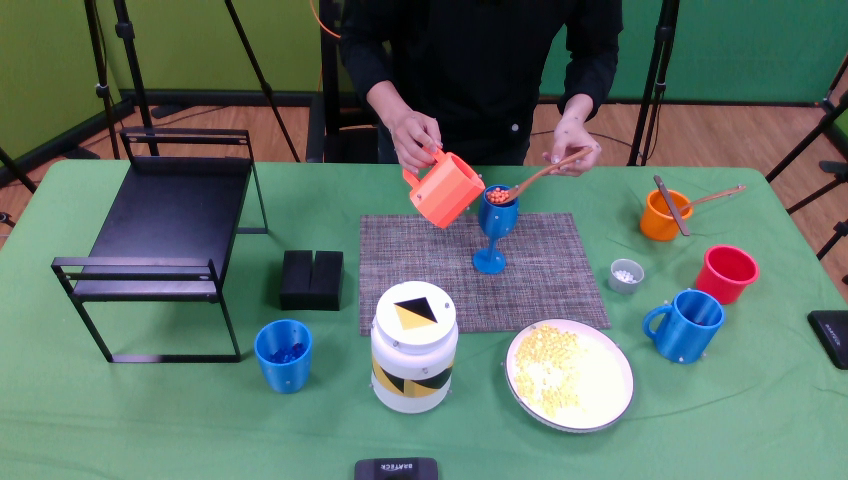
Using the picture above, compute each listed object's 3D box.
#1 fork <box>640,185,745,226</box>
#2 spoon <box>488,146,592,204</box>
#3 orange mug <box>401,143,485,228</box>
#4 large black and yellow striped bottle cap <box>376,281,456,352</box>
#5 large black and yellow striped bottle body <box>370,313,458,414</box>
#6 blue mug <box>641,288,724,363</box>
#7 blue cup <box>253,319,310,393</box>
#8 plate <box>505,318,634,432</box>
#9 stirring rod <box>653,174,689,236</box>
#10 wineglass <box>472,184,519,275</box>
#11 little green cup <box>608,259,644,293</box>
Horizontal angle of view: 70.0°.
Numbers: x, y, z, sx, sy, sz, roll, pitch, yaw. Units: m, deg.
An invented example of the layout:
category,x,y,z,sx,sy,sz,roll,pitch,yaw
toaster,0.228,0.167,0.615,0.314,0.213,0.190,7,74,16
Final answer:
category,x,y,z,sx,sy,sz,roll,pitch,yaw
fork,0.534,-0.069,1.215,0.207,0.019,0.028,-26,27,33
spoon,0.192,-0.109,1.017,0.194,0.022,0.041,-31,19,25
orange mug,0.025,-0.097,1.001,0.126,0.101,0.083,51,19,4
large black and yellow striped bottle cap,-0.011,0.107,0.863,0.115,0.019,0.114,2,47,-2
large black and yellow striped bottle body,-0.017,0.165,0.924,0.131,0.185,0.130,2,46,-2
blue mug,0.432,0.144,1.033,0.116,0.106,0.082,8,46,4
blue cup,-0.217,0.187,0.943,0.093,0.101,0.092,4,45,-3
plate,0.235,0.221,0.991,0.209,0.038,0.208,2,46,-2
stirring rod,0.491,-0.072,1.211,0.014,0.006,0.175,0,47,-6
wineglass,0.129,-0.018,1.113,0.074,0.173,0.073,2,46,-2
little green cup,0.379,0.070,1.147,0.061,0.039,0.061,3,45,-3
